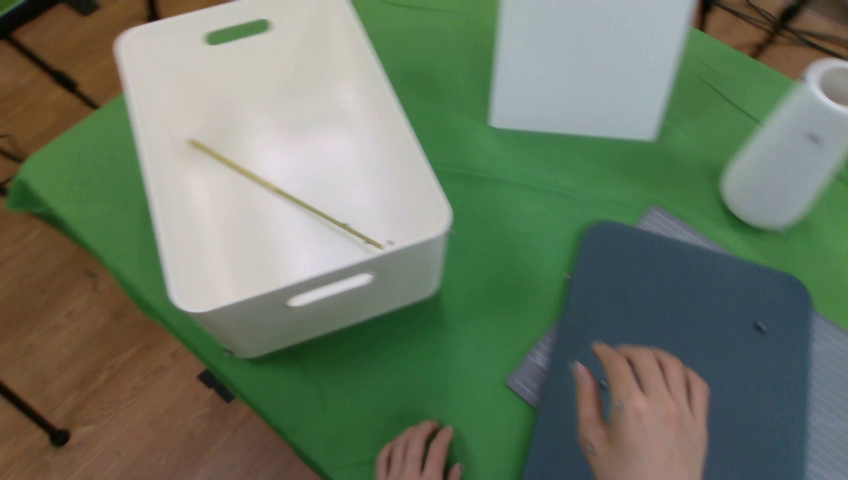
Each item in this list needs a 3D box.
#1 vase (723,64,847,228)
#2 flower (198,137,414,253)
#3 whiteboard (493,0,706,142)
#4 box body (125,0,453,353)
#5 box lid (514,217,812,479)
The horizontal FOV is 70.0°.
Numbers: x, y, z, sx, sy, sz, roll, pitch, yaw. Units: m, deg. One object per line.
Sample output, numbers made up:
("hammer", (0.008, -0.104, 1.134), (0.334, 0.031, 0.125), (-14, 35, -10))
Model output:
("vase", (0.412, -0.098, 0.668), (0.098, 0.201, 0.097), (0, 59, 0))
("flower", (-0.143, -0.050, 0.728), (0.359, 0.038, 0.044), (29, 93, 19))
("whiteboard", (0.214, -0.298, 0.749), (0.217, 0.308, 0.142), (6, 42, 3))
("box body", (-0.147, -0.083, 0.671), (0.254, 0.161, 0.360), (-18, 63, -10))
("box lid", (0.259, 0.155, 0.631), (0.262, 0.015, 0.369), (18, 63, 8))
